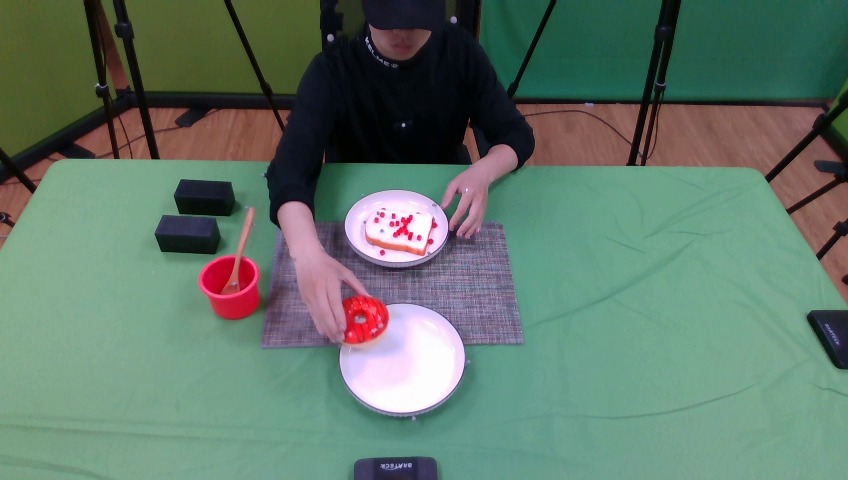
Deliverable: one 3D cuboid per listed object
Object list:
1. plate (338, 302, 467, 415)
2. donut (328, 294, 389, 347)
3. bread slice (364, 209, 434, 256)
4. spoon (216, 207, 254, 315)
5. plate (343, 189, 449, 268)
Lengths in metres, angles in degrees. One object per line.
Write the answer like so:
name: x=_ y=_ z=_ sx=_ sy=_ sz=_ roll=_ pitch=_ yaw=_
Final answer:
plate: x=-0.035 y=0.194 z=0.993 sx=0.208 sy=0.039 sz=0.206 roll=2 pitch=48 yaw=-2
donut: x=-0.105 y=0.129 z=0.980 sx=0.099 sy=0.048 sz=0.098 roll=1 pitch=48 yaw=-1
bread slice: x=-0.053 y=-0.020 z=1.199 sx=0.131 sy=0.019 sz=0.104 roll=10 pitch=46 yaw=4
spoon: x=-0.322 y=0.036 z=1.053 sx=0.041 sy=0.021 sz=0.193 roll=14 pitch=90 yaw=11
plate: x=-0.055 y=-0.019 z=1.195 sx=0.209 sy=0.038 sz=0.208 roll=3 pitch=46 yaw=-2
